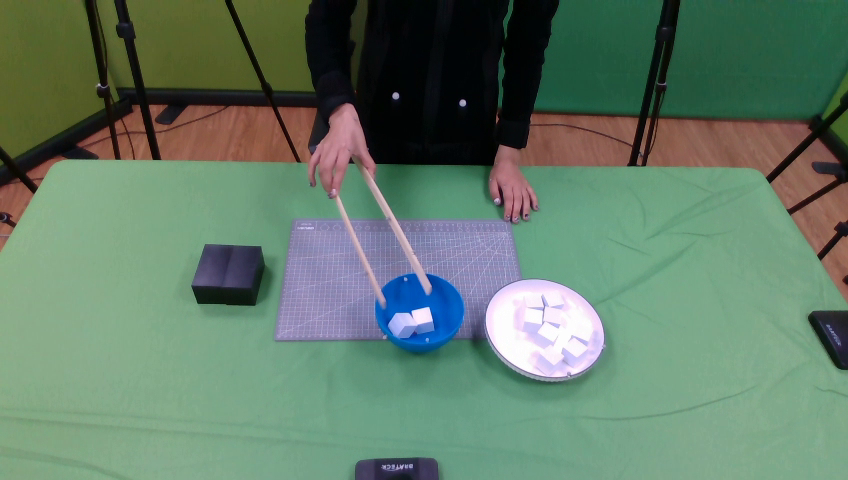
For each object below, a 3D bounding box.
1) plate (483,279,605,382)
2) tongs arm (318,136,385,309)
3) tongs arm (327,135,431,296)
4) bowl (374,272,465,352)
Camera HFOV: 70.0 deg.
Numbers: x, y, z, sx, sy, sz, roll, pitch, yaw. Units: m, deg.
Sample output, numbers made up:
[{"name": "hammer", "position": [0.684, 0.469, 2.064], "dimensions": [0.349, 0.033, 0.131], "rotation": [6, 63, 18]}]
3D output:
[{"name": "plate", "position": [0.204, 0.158, 1.046], "dimensions": [0.208, 0.039, 0.206], "rotation": [3, 47, -3]}, {"name": "tongs arm", "position": [-0.129, -0.042, 1.053], "dimensions": [0.028, 0.028, 0.385], "rotation": [-17, 56, -13]}, {"name": "tongs arm", "position": [-0.088, -0.054, 1.069], "dimensions": [0.051, 0.026, 0.382], "rotation": [-17, 56, -18]}, {"name": "bowl", "position": [-0.009, 0.136, 1.024], "dimensions": [0.151, 0.077, 0.150], "rotation": [2, 47, -2]}]
